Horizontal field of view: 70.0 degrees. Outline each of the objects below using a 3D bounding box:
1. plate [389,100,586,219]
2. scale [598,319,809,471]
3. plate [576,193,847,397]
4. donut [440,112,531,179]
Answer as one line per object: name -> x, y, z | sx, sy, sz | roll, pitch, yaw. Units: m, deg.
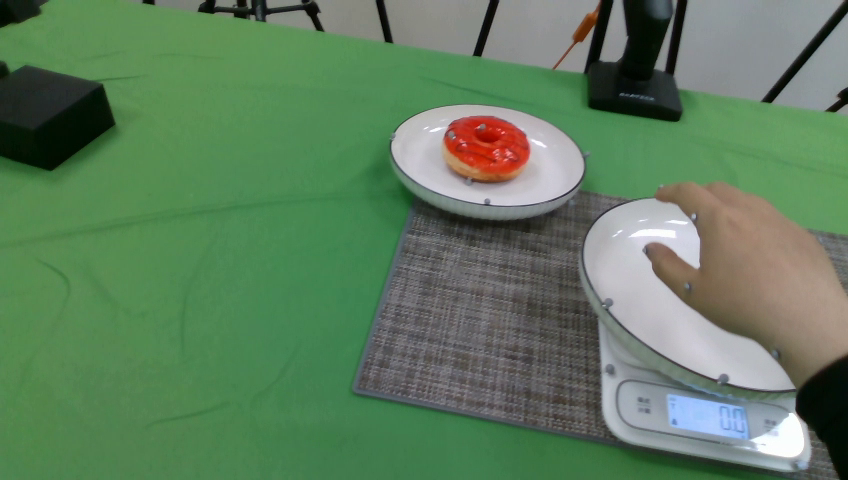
plate -> 0.066, -0.086, 0.650 | 0.209, 0.038, 0.207 | 3, 41, -2
scale -> 0.217, 0.080, 0.492 | 0.148, 0.032, 0.199 | 10, 43, 5
plate -> 0.223, 0.040, 0.487 | 0.208, 0.039, 0.205 | 4, 43, -3
donut -> 0.066, -0.101, 0.652 | 0.099, 0.048, 0.098 | 5, 41, -4
